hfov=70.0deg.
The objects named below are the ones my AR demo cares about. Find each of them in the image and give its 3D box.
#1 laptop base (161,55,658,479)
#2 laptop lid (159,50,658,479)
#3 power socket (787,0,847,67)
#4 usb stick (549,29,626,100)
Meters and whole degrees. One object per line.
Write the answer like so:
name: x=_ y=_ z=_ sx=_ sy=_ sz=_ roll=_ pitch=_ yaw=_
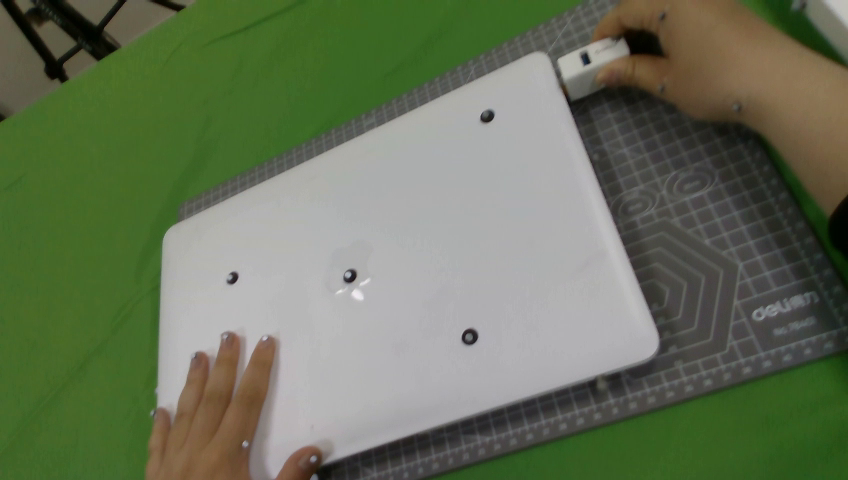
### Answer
laptop base: x=-0.046 y=0.028 z=0.434 sx=0.354 sy=0.023 sz=0.233 roll=-23 pitch=61 yaw=16
laptop lid: x=-0.051 y=0.025 z=0.424 sx=0.356 sy=0.013 sz=0.239 roll=-22 pitch=60 yaw=17
power socket: x=0.262 y=-0.156 z=0.359 sx=0.072 sy=0.033 sz=0.224 roll=-24 pitch=57 yaw=13
usb stick: x=0.104 y=-0.116 z=0.412 sx=0.059 sy=0.027 sz=0.021 roll=-26 pitch=51 yaw=21
